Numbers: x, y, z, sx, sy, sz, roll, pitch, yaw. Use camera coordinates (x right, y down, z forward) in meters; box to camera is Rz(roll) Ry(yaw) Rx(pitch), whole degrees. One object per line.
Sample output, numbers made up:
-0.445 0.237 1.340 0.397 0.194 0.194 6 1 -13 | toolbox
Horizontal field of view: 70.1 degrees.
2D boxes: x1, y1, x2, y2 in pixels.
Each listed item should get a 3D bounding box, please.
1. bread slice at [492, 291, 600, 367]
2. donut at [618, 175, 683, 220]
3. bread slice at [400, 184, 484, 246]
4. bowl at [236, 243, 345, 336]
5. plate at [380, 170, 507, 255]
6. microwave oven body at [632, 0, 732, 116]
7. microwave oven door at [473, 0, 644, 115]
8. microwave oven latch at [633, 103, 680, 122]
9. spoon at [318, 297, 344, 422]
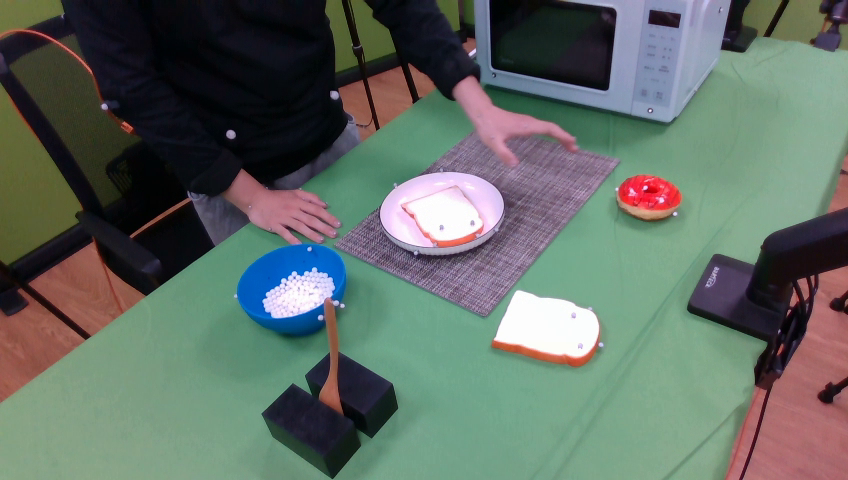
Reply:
0.169 0.118 0.811 0.131 0.019 0.105 11 44 21 | bread slice
0.366 -0.070 0.981 0.099 0.048 0.098 -3 39 3 | donut
0.037 -0.038 0.990 0.107 0.018 0.133 -23 43 -17 | bread slice
-0.180 0.082 0.855 0.151 0.077 0.150 -4 41 4 | bowl
0.033 -0.042 0.995 0.207 0.039 0.206 -4 40 4 | plate
0.377 -0.463 1.267 0.438 0.261 0.327 21 49 30 | microwave oven body
0.257 -0.396 1.199 0.353 0.245 0.039 21 48 29 | microwave oven door
0.444 -0.249 1.158 0.078 0.029 0.030 21 49 30 | microwave oven latch
-0.107 0.139 0.687 0.041 0.194 0.022 27 37 31 | spoon
